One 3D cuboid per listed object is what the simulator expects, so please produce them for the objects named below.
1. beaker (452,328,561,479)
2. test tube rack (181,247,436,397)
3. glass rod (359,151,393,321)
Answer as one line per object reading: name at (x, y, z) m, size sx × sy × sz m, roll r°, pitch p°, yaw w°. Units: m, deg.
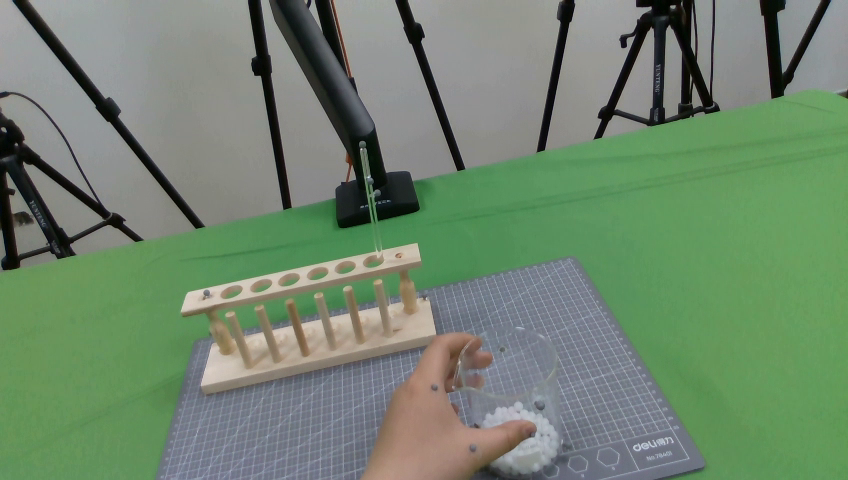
beaker at (0.067, 0.132, 0.474) m, size 0.084 × 0.101 × 0.073 m, roll -20°, pitch 33°, yaw -13°
test tube rack at (-0.116, 0.084, 0.623) m, size 0.242 × 0.086 × 0.066 m, roll -12°, pitch 32°, yaw -1°
glass rod at (-0.046, 0.004, 0.600) m, size 0.008 × 0.201 × 0.008 m, roll -5°, pitch 33°, yaw 4°
